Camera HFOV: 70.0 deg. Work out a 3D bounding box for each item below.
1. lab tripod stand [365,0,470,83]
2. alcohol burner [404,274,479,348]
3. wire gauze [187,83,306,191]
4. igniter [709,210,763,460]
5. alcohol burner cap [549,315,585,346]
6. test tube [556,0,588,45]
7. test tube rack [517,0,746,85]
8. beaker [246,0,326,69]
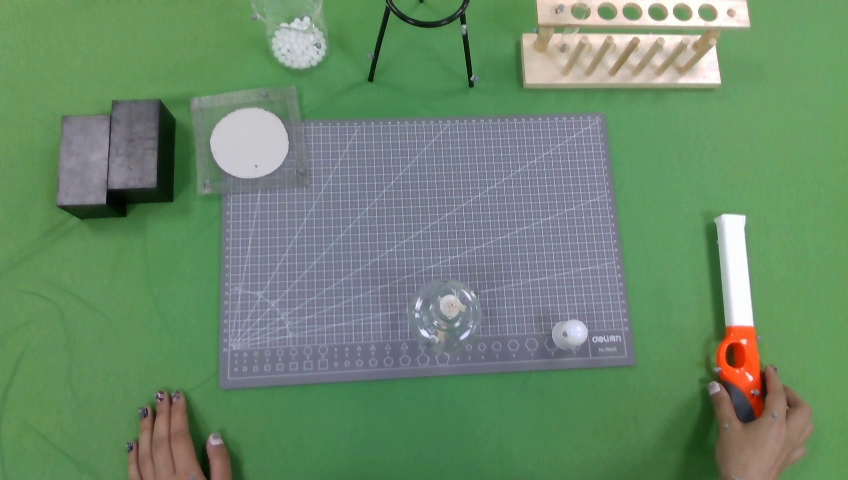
[{"bbox_3d":[-0.005,-0.246,0.673,0.148,0.132,0.147,1,76,-2],"label":"lab tripod stand"},{"bbox_3d":[0.020,0.069,0.614,0.078,0.119,0.077,1,75,-5],"label":"alcohol burner"},{"bbox_3d":[-0.204,-0.118,0.691,0.125,0.011,0.121,-8,78,-5],"label":"wire gauze"},{"bbox_3d":[0.347,0.101,0.677,0.057,0.025,0.275,3,78,-10],"label":"igniter"},{"bbox_3d":[0.156,0.097,0.654,0.034,0.048,0.033,1,77,-3],"label":"alcohol burner cap"},{"bbox_3d":[0.170,-0.261,0.662,0.017,0.151,0.017,1,73,-4],"label":"test tube"},{"bbox_3d":[0.239,-0.232,0.712,0.243,0.085,0.066,-1,78,-4],"label":"test tube rack"},{"bbox_3d":[-0.148,-0.243,0.679,0.074,0.100,0.083,-33,82,-9],"label":"beaker"}]
